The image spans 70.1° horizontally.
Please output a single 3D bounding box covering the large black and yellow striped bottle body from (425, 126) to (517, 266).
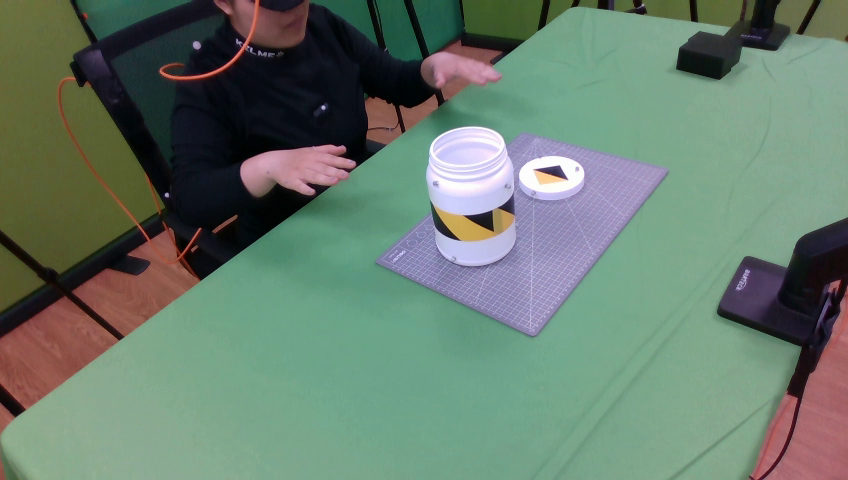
[{"bbox_3d":[0.072,-0.066,0.917,0.131,0.185,0.130,-5,40,5],"label":"large black and yellow striped bottle body"}]

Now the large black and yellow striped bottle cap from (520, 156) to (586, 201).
[{"bbox_3d":[0.228,-0.111,1.072,0.115,0.019,0.114,-6,40,6],"label":"large black and yellow striped bottle cap"}]
